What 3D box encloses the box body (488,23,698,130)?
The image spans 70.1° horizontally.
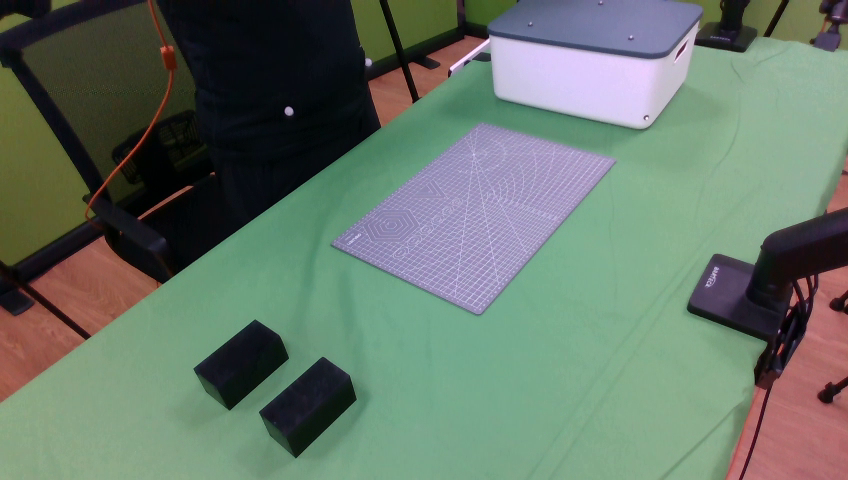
[{"bbox_3d":[0.345,-0.379,1.257,0.361,0.161,0.255,20,48,29],"label":"box body"}]

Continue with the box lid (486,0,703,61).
[{"bbox_3d":[0.338,-0.435,1.208,0.369,0.015,0.264,20,47,29],"label":"box lid"}]
